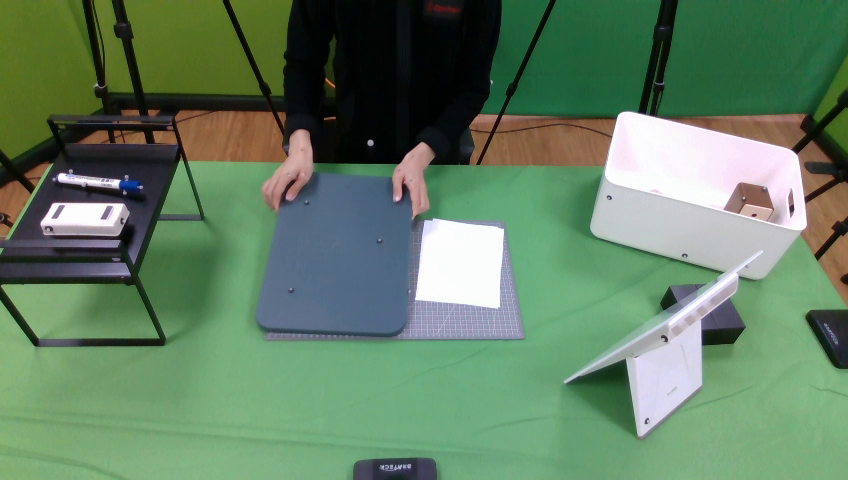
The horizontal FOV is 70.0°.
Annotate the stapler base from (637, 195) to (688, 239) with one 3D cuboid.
[{"bbox_3d":[0.507,-0.055,1.280,0.041,0.024,0.129,-14,47,-19],"label":"stapler base"}]

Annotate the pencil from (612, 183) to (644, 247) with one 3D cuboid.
[{"bbox_3d":[0.430,-0.057,1.286,0.012,0.012,0.192,-2,46,-6],"label":"pencil"}]

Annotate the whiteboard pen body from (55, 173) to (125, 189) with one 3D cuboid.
[{"bbox_3d":[-0.539,-0.095,0.998,0.141,0.017,0.017,6,46,6],"label":"whiteboard pen body"}]

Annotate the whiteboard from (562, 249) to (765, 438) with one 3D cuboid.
[{"bbox_3d":[0.386,0.175,0.905,0.217,0.306,0.143,-26,72,-26],"label":"whiteboard"}]

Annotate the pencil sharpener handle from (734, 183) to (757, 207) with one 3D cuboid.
[{"bbox_3d":[0.663,-0.100,1.259,0.036,0.068,0.030,11,46,6],"label":"pencil sharpener handle"}]

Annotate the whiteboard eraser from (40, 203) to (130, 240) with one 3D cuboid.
[{"bbox_3d":[-0.513,-0.028,0.922,0.113,0.042,0.055,1,48,-3],"label":"whiteboard eraser"}]

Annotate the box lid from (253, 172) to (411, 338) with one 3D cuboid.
[{"bbox_3d":[-0.160,0.015,1.141,0.263,0.015,0.369,3,53,-2],"label":"box lid"}]

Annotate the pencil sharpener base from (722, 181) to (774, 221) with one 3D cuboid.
[{"bbox_3d":[0.651,-0.056,1.232,0.061,0.107,0.076,11,46,6],"label":"pencil sharpener base"}]

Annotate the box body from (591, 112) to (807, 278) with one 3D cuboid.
[{"bbox_3d":[0.540,-0.092,1.230,0.363,0.161,0.253,16,47,11],"label":"box body"}]

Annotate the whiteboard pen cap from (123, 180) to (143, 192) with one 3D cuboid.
[{"bbox_3d":[-0.479,-0.089,0.993,0.033,0.018,0.018,7,46,14],"label":"whiteboard pen cap"}]

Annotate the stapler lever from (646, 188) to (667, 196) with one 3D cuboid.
[{"bbox_3d":[0.507,-0.075,1.262,0.027,0.040,0.117,-14,46,-19],"label":"stapler lever"}]
